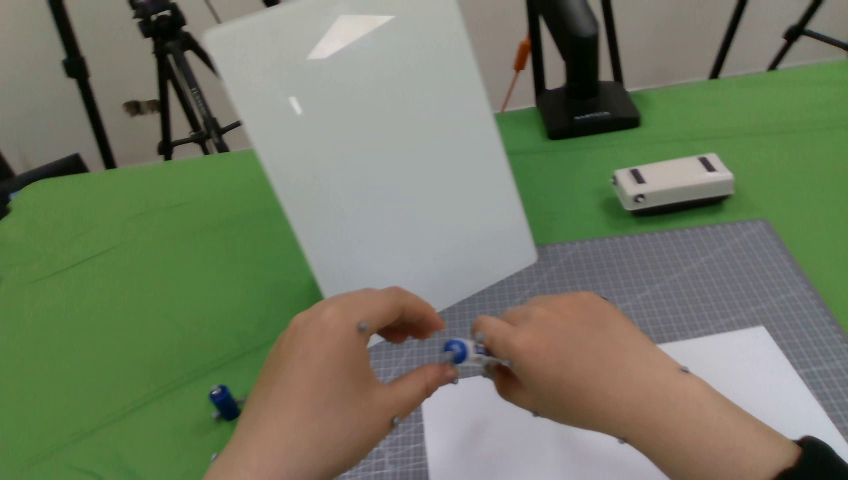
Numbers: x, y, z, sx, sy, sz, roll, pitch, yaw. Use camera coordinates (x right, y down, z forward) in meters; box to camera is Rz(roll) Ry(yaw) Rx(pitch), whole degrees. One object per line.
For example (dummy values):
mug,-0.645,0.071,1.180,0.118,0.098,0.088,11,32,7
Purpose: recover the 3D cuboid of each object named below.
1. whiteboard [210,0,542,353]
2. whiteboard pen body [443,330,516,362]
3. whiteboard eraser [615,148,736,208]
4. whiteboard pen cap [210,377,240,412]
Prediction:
whiteboard,-0.046,-0.088,0.600,0.217,0.307,0.142,-25,20,-15
whiteboard pen body,0.043,0.073,0.408,0.017,0.142,0.017,-5,76,22
whiteboard eraser,0.269,-0.064,0.652,0.112,0.042,0.055,-8,41,3
whiteboard pen cap,-0.174,0.136,0.530,0.018,0.033,0.018,-6,40,5
